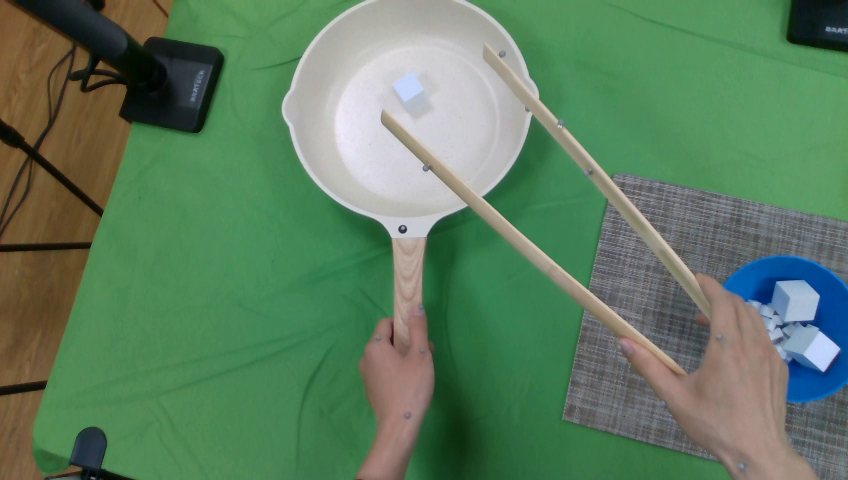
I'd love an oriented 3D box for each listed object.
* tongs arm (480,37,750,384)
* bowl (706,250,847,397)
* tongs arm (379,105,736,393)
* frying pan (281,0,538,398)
[{"bbox_3d":[0.154,-0.039,0.548,0.051,0.027,0.382,-34,74,-14],"label":"tongs arm"},{"bbox_3d":[0.373,0.091,0.652,0.151,0.077,0.150,-1,79,6],"label":"bowl"},{"bbox_3d":[0.099,0.002,0.532,0.385,0.028,0.028,42,69,14],"label":"tongs arm"},{"bbox_3d":[-0.019,-0.064,0.712,0.306,0.103,0.484,-1,71,7],"label":"frying pan"}]
